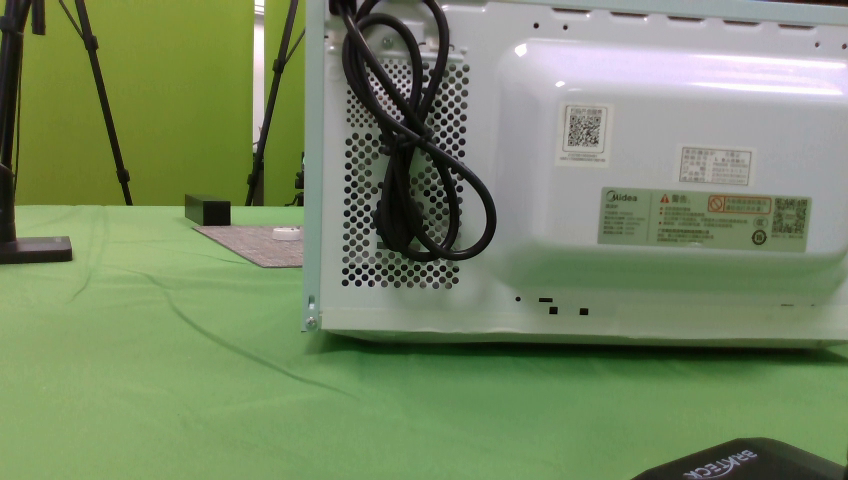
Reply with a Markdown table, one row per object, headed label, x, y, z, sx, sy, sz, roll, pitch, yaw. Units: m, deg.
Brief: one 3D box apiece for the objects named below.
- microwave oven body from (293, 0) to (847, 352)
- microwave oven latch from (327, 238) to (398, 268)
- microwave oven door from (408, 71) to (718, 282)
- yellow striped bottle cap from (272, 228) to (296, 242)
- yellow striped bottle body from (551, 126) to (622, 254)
| label | x | y | z | sx | sy | sz | roll | pitch | yaw |
| --- | --- | --- | --- | --- | --- | --- | --- | --- | --- |
| microwave oven body | 0.122 | -0.055 | 0.550 | 0.442 | 0.260 | 0.325 | 3 | 7 | -5 |
| microwave oven latch | -0.070 | 0.015 | 0.694 | 0.079 | 0.029 | 0.030 | 3 | 7 | -3 |
| microwave oven door | 0.159 | -0.083 | 0.749 | 0.355 | 0.243 | 0.039 | 4 | 8 | 12 |
| yellow striped bottle cap | -0.232 | -0.008 | 1.012 | 0.044 | 0.018 | 0.044 | 4 | 8 | 0 |
| yellow striped bottle body | 0.157 | -0.049 | 0.586 | 0.063 | 0.120 | 0.063 | 1 | 7 | 0 |
